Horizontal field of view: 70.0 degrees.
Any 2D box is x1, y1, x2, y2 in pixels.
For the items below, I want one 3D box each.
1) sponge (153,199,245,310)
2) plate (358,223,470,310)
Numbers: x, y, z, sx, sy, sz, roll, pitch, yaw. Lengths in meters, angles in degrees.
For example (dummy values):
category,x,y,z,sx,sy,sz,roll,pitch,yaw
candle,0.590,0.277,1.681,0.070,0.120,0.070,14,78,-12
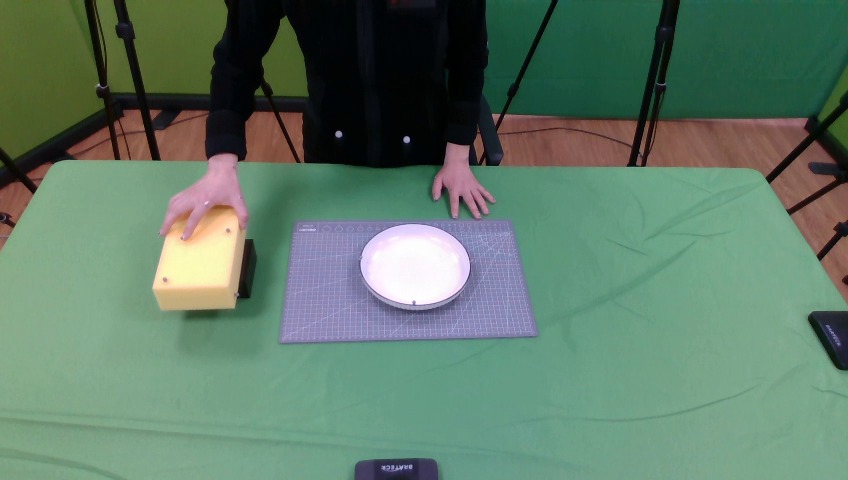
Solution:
category,x,y,z,sx,sy,sz,roll,pitch,yaw
sponge,-0.384,0.021,1.051,0.118,0.061,0.205,-3,47,-7
plate,-0.019,0.052,1.132,0.209,0.038,0.208,2,46,-2
